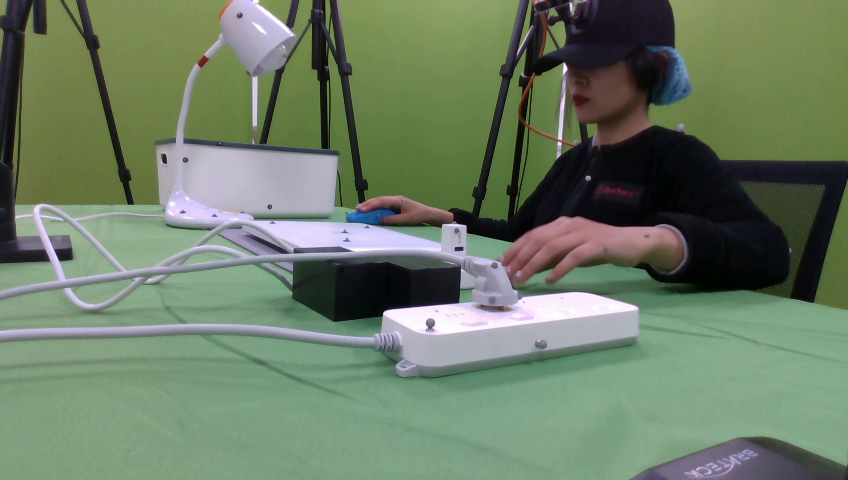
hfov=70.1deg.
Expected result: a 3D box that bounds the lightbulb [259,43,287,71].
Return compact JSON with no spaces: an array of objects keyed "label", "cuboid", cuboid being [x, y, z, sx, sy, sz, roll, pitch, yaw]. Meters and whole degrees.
[{"label":"lightbulb","cuboid":[-0.295,-0.357,1.102,0.059,0.107,0.059,-38,1,1]}]

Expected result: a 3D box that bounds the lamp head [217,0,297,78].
[{"label":"lamp head","cuboid":[-0.315,-0.372,1.102,0.123,0.112,0.112,41,2,-9]}]

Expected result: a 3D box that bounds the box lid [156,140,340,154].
[{"label":"box lid","cuboid":[-0.409,-0.213,1.404,0.373,0.015,0.262,-2,8,-32]}]

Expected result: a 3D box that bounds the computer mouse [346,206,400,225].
[{"label":"computer mouse","cuboid":[-0.113,-0.054,1.338,0.117,0.041,0.062,-3,10,-19]}]

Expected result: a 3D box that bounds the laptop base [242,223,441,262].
[{"label":"laptop base","cuboid":[-0.126,0.003,0.945,0.237,0.023,0.352,2,6,-31]}]

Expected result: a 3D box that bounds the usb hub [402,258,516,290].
[{"label":"usb hub","cuboid":[0.041,0.038,0.690,0.126,0.025,0.049,-2,9,-30]}]

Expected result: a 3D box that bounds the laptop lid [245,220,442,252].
[{"label":"laptop lid","cuboid":[-0.124,-0.009,0.945,0.243,0.013,0.355,1,7,-29]}]

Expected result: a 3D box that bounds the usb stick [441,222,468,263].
[{"label":"usb stick","cuboid":[0.034,0.009,0.685,0.021,0.059,0.027,-3,10,-31]}]

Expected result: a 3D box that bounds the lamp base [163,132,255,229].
[{"label":"lamp base","cuboid":[-0.420,-0.116,1.156,0.179,0.180,0.160,0,7,0]}]

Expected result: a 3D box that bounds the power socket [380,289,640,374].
[{"label":"power socket","cuboid":[0.072,0.064,0.461,0.228,0.032,0.072,-3,7,-30]}]

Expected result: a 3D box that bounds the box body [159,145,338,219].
[{"label":"box body","cuboid":[-0.410,-0.139,1.414,0.366,0.160,0.253,-3,8,-33]}]

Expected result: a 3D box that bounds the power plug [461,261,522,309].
[{"label":"power plug","cuboid":[0.043,0.043,0.444,0.035,0.052,0.073,-5,8,44]}]
